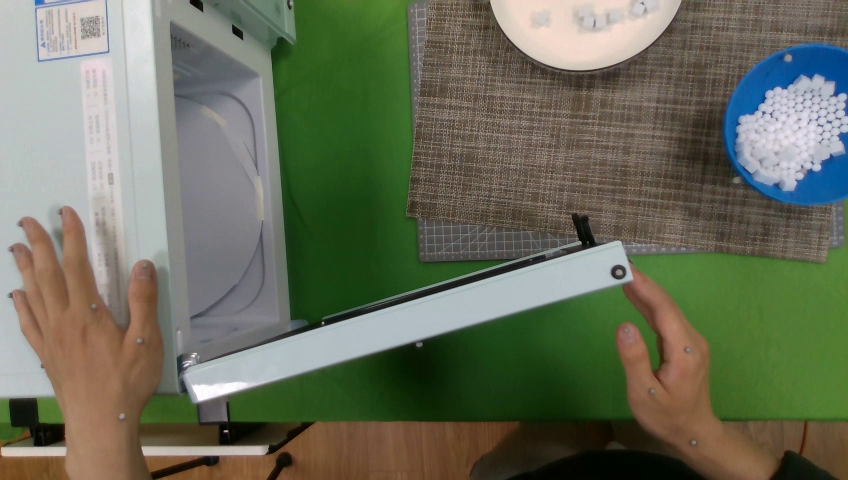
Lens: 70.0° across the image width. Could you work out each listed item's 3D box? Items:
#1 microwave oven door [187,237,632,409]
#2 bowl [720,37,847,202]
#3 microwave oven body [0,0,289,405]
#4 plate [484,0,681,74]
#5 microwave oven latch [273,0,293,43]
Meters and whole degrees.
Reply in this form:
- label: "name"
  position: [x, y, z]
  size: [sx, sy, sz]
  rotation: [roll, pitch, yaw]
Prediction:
- label: "microwave oven door"
  position: [-0.001, 0.067, 0.566]
  size: [0.355, 0.244, 0.039]
  rotation: [-18, 86, 10]
- label: "bowl"
  position: [0.363, -0.110, 0.596]
  size: [0.151, 0.077, 0.151]
  rotation: [0, 91, 11]
- label: "microwave oven body"
  position: [-0.318, -0.081, 0.624]
  size: [0.325, 0.260, 0.441]
  rotation: [-5, 91, 9]
- label: "plate"
  position: [0.169, -0.278, 0.648]
  size: [0.209, 0.038, 0.209]
  rotation: [0, 89, 10]
- label: "microwave oven latch"
  position: [-0.169, -0.269, 0.693]
  size: [0.030, 0.029, 0.079]
  rotation: [-4, 91, 10]
